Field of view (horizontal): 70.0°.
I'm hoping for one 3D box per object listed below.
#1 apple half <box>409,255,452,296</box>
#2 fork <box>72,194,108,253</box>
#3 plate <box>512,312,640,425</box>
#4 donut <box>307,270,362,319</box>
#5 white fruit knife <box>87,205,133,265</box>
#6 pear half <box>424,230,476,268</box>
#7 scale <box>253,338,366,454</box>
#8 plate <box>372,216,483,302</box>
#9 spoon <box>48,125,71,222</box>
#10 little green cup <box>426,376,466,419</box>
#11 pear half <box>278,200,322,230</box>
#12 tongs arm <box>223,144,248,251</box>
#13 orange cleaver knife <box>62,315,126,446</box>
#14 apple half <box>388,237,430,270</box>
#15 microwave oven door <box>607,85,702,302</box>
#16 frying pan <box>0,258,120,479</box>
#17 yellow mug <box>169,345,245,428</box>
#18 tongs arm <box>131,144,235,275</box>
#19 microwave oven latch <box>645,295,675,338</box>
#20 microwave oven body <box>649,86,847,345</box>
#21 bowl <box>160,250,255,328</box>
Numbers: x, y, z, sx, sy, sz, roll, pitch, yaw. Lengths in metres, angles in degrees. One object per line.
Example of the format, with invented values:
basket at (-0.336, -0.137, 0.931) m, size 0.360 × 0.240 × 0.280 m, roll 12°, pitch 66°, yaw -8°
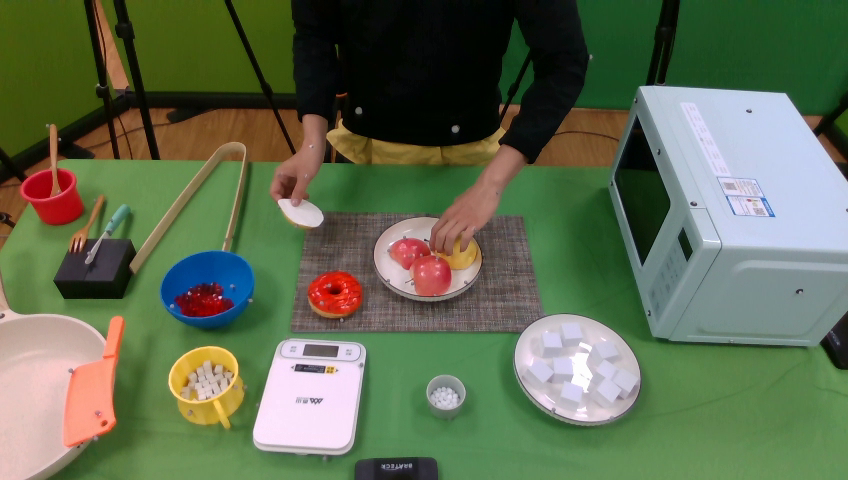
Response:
apple half at (0.014, 0.058, 1.103) m, size 0.075 × 0.053 × 0.080 m, roll -4°, pitch 43°, yaw -10°
fork at (-0.634, -0.036, 1.158) m, size 0.028 × 0.019 × 0.206 m, roll -7°, pitch 31°, yaw -9°
plate at (0.246, 0.213, 0.999) m, size 0.208 × 0.039 × 0.206 m, roll 2°, pitch 46°, yaw -2°
donut at (-0.157, 0.097, 1.073) m, size 0.099 × 0.048 × 0.098 m, roll 4°, pitch 45°, yaw -4°
white fruit knife at (-0.584, -0.013, 1.129) m, size 0.016 × 0.027 × 0.206 m, roll -1°, pitch 32°, yaw -4°
pear half at (0.043, 0.006, 1.158) m, size 0.109 × 0.056 × 0.076 m, roll 19°, pitch 44°, yaw 29°
scale at (-0.175, 0.236, 0.951) m, size 0.149 × 0.032 × 0.199 m, roll 5°, pitch 45°, yaw -1°
plate at (0.006, 0.038, 1.145) m, size 0.209 × 0.038 × 0.208 m, roll 2°, pitch 46°, yaw -2°
spoon at (-0.718, -0.131, 1.188) m, size 0.041 × 0.021 × 0.193 m, roll -3°, pitch 90°, yaw -7°
little green cup at (0.033, 0.248, 0.950) m, size 0.061 × 0.039 × 0.061 m, roll 2°, pitch 46°, yaw -2°
pear half at (-0.238, -0.043, 1.141) m, size 0.088 × 0.031 × 0.070 m, roll 27°, pitch 25°, yaw -8°
tongs arm at (-0.397, -0.073, 1.232) m, size 0.051 × 0.027 × 0.382 m, roll -3°, pitch 45°, yaw 1°
orange cleaver knife at (-0.480, 0.199, 0.887) m, size 0.077 × 0.012 × 0.210 m, roll -9°, pitch 47°, yaw -8°
apple half at (-0.026, 0.016, 1.158) m, size 0.081 × 0.033 × 0.081 m, roll 3°, pitch 47°, yaw -2°
microwave oven door at (0.423, -0.094, 1.140) m, size 0.039 × 0.245 × 0.353 m, roll 2°, pitch 46°, yaw -1°
frying pan at (-0.647, 0.164, 0.936) m, size 0.307 × 0.103 × 0.485 m, roll -19°, pitch 58°, yaw -22°
yellow mug at (-0.322, 0.230, 0.922) m, size 0.100 × 0.064 × 0.130 m, roll -24°, pitch 53°, yaw -25°
tongs arm at (-0.484, -0.076, 1.236) m, size 0.028 × 0.028 × 0.385 m, roll 5°, pitch 45°, yaw 13°
microwave oven latch at (0.411, 0.134, 1.061) m, size 0.030 × 0.029 × 0.078 m, roll 3°, pitch 45°, yaw 0°
microwave oven body at (0.567, -0.053, 1.118) m, size 0.326 × 0.261 × 0.439 m, roll 2°, pitch 45°, yaw -1°
bowl at (-0.362, 0.098, 1.040) m, size 0.151 × 0.077 × 0.150 m, roll 2°, pitch 45°, yaw -2°
